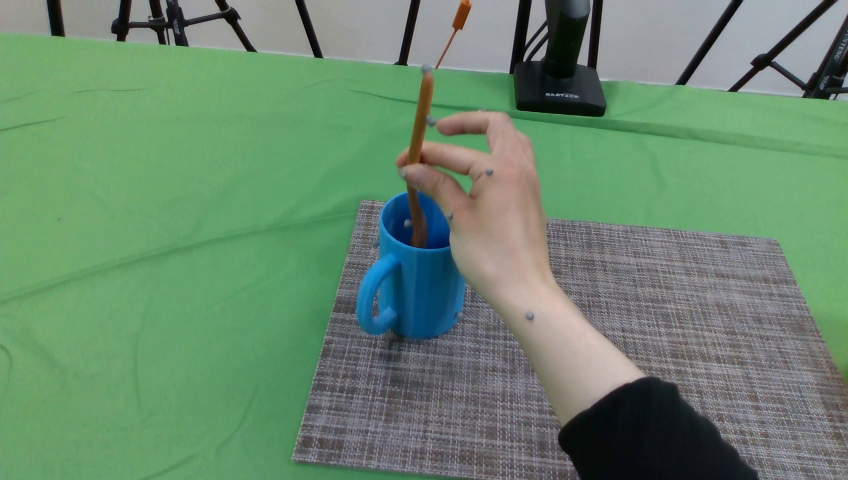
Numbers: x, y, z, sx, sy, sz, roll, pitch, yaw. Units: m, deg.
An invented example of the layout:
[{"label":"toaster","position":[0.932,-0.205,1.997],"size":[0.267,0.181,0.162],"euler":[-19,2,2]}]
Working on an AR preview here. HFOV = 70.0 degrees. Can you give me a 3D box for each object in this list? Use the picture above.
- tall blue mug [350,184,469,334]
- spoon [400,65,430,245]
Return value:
[{"label":"tall blue mug","position":[-0.010,0.028,0.505],"size":[0.077,0.109,0.106],"euler":[12,44,6]},{"label":"spoon","position":[-0.010,-0.045,0.442],"size":[0.021,0.195,0.041],"euler":[4,53,1]}]
